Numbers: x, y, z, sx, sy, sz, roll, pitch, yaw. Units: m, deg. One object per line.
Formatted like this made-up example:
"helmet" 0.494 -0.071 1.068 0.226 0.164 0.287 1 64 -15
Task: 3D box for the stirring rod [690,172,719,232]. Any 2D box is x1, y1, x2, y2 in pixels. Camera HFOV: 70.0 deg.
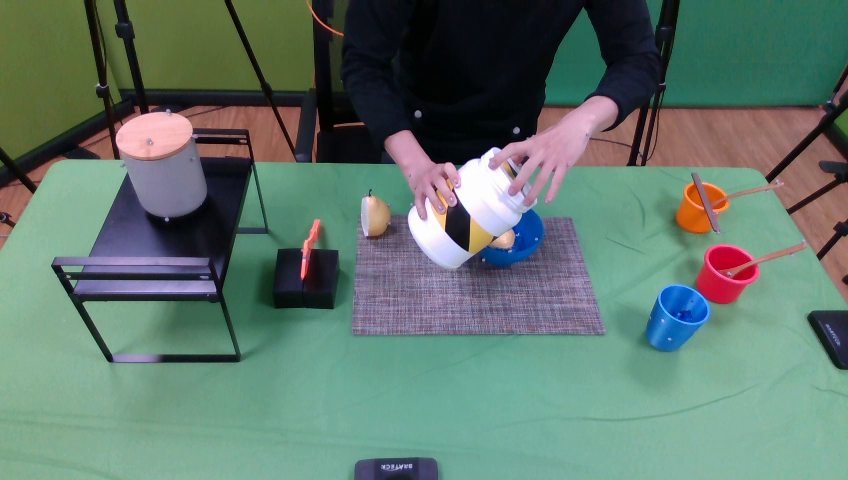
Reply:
"stirring rod" 0.566 -0.080 1.224 0.014 0.006 0.175 3 46 1

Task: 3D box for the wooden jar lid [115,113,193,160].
"wooden jar lid" -0.399 -0.151 0.900 0.108 0.021 0.107 3 46 -3

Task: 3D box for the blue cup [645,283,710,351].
"blue cup" 0.426 0.139 1.041 0.093 0.100 0.092 4 46 -3

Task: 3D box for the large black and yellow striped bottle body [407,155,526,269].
"large black and yellow striped bottle body" 0.077 -0.051 1.000 0.131 0.184 0.130 41 26 -25

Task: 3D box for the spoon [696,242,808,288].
"spoon" 0.601 0.044 1.116 0.194 0.022 0.041 -29 34 30

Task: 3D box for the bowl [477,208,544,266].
"bowl" 0.149 -0.004 1.167 0.151 0.077 0.150 2 46 -2

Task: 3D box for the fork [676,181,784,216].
"fork" 0.618 -0.083 1.235 0.019 0.207 0.028 55 40 -15

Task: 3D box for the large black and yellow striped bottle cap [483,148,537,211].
"large black and yellow striped bottle cap" 0.139 -0.098 0.967 0.115 0.019 0.114 40 26 -24

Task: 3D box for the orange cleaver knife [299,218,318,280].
"orange cleaver knife" -0.214 0.013 1.125 0.012 0.077 0.210 5 17 -5

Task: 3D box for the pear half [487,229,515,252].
"pear half" 0.145 -0.013 1.167 0.070 0.031 0.087 -21 55 -19

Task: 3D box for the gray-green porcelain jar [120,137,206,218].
"gray-green porcelain jar" -0.403 -0.106 0.946 0.106 0.127 0.105 3 46 -2

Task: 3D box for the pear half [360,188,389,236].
"pear half" -0.096 -0.060 1.181 0.056 0.110 0.076 -14 52 -17
